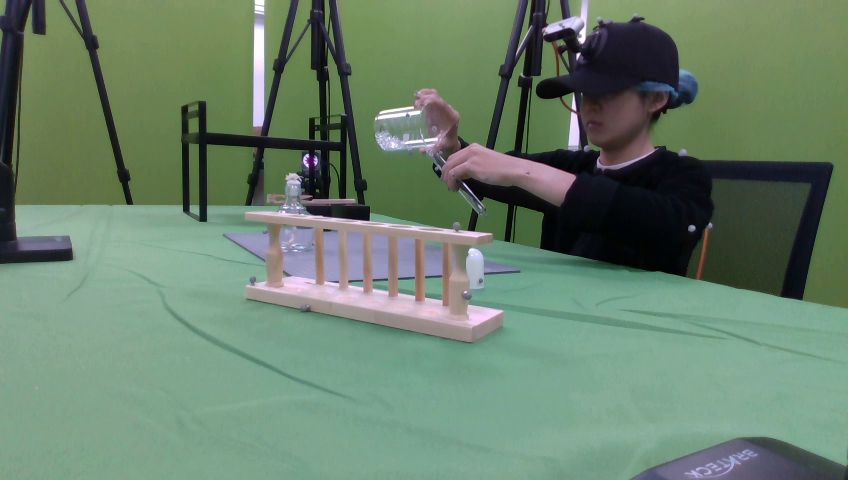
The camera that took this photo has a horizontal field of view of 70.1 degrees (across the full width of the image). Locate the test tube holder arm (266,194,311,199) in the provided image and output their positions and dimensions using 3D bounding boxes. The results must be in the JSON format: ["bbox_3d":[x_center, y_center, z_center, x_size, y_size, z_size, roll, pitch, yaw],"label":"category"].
[{"bbox_3d":[-0.262,-0.084,1.173,0.088,0.010,0.015,-3,2,-30],"label":"test tube holder arm"}]

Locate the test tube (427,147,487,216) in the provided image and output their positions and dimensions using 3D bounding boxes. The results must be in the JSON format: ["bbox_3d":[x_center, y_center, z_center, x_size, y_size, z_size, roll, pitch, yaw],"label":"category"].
[{"bbox_3d":[0.052,-0.095,0.971,0.017,0.017,0.149,-7,53,-52],"label":"test tube"}]

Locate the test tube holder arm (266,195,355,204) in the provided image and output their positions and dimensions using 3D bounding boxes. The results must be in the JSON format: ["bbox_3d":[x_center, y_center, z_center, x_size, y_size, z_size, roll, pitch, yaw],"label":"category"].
[{"bbox_3d":[-0.222,-0.081,1.196,0.179,0.013,0.015,-4,3,-30],"label":"test tube holder arm"}]

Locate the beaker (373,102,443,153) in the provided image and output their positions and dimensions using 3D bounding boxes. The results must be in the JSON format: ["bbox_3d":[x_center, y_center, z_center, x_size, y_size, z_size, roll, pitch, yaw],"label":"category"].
[{"bbox_3d":[-0.029,-0.185,1.024,0.100,0.084,0.074,-1,-4,31],"label":"beaker"}]

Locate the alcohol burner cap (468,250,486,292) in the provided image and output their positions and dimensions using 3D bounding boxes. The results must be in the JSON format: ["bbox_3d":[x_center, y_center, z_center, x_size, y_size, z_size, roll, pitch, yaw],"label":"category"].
[{"bbox_3d":[0.056,0.035,0.690,0.034,0.048,0.034,2,7,0],"label":"alcohol burner cap"}]

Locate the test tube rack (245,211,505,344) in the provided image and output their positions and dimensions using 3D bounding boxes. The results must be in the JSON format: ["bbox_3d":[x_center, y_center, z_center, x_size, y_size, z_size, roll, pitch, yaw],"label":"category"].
[{"bbox_3d":[-0.049,0.025,0.547,0.241,0.085,0.067,7,8,29],"label":"test tube rack"}]

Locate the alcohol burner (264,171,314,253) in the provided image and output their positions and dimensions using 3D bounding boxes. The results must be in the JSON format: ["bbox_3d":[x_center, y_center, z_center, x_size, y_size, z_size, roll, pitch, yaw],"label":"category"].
[{"bbox_3d":[-0.194,-0.042,0.888,0.078,0.119,0.078,3,5,0],"label":"alcohol burner"}]
